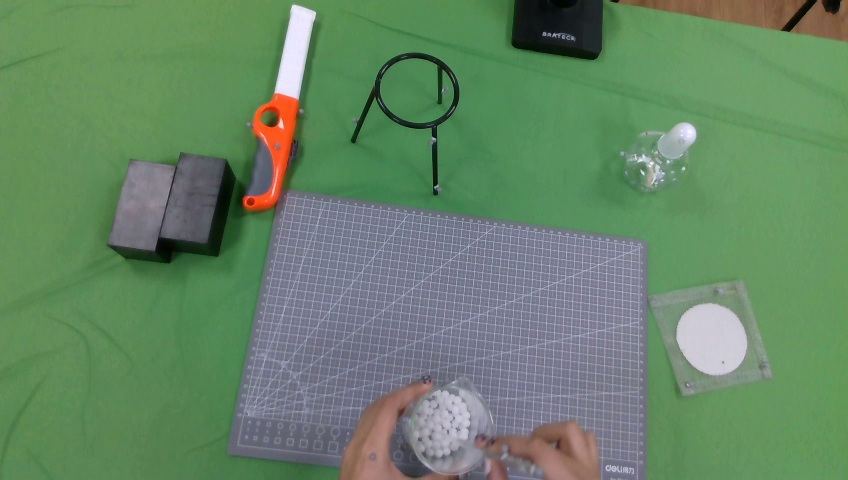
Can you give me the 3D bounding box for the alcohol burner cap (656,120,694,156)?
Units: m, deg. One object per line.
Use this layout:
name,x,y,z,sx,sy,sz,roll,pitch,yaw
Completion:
alcohol burner cap,0.289,-0.118,0.690,0.034,0.048,0.033,1,77,-2

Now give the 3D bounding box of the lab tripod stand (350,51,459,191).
lab tripod stand,-0.013,-0.144,0.693,0.148,0.132,0.147,2,71,-4

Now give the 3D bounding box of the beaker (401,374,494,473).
beaker,0.018,0.166,0.564,0.074,0.100,0.083,18,75,-4

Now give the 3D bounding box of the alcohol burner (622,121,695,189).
alcohol burner,0.285,-0.108,0.724,0.078,0.119,0.077,2,71,-5

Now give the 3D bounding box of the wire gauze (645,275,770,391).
wire gauze,0.340,0.109,0.721,0.125,0.011,0.120,-10,75,-6

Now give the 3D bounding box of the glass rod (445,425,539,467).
glass rod,0.050,0.169,0.506,0.008,0.199,0.008,3,79,-15

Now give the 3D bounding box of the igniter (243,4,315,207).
igniter,-0.173,-0.166,0.737,0.057,0.025,0.275,13,72,-18
